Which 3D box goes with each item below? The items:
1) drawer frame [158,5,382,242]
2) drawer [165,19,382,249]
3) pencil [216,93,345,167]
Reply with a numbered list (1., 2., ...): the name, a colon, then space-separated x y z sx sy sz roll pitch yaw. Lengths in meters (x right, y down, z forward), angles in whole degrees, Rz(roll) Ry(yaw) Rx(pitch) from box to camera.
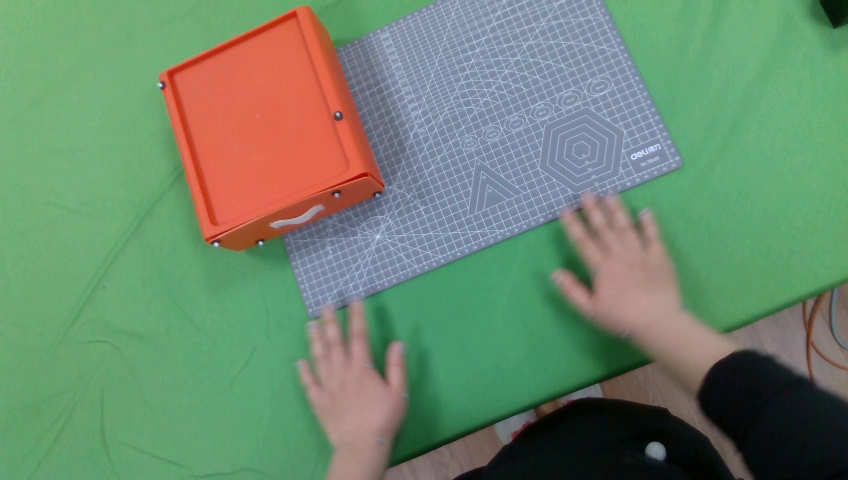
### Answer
1. drawer frame: -0.179 -0.125 0.701 0.201 0.083 0.212 -23 78 8
2. drawer: -0.176 -0.120 0.701 0.194 0.073 0.210 -22 77 8
3. pencil: -0.173 -0.132 0.724 0.193 0.012 0.012 30 89 14
